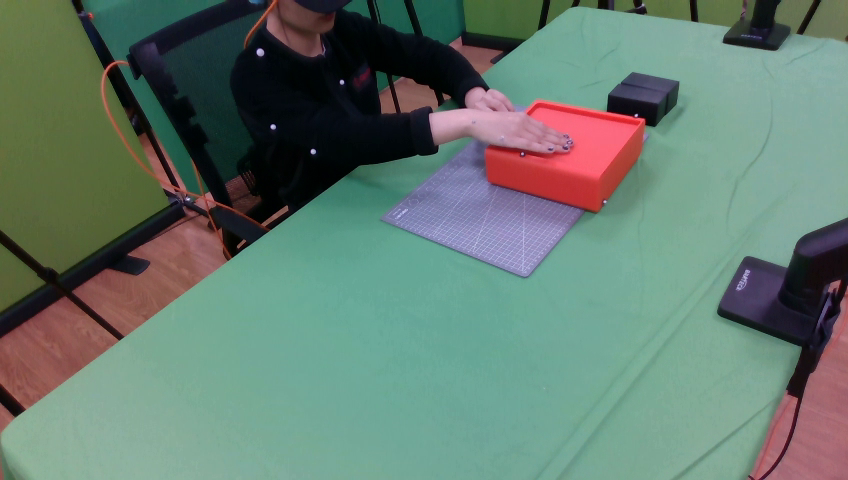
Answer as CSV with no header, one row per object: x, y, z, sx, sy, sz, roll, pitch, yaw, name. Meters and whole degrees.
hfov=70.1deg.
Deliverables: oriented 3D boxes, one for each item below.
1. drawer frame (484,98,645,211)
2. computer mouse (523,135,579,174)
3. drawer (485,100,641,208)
0.248,-0.158,1.070,0.212,0.083,0.202,20,47,29,drawer frame
0.232,-0.163,1.100,0.062,0.041,0.117,19,41,34,computer mouse
0.246,-0.158,1.073,0.210,0.073,0.195,21,48,30,drawer
